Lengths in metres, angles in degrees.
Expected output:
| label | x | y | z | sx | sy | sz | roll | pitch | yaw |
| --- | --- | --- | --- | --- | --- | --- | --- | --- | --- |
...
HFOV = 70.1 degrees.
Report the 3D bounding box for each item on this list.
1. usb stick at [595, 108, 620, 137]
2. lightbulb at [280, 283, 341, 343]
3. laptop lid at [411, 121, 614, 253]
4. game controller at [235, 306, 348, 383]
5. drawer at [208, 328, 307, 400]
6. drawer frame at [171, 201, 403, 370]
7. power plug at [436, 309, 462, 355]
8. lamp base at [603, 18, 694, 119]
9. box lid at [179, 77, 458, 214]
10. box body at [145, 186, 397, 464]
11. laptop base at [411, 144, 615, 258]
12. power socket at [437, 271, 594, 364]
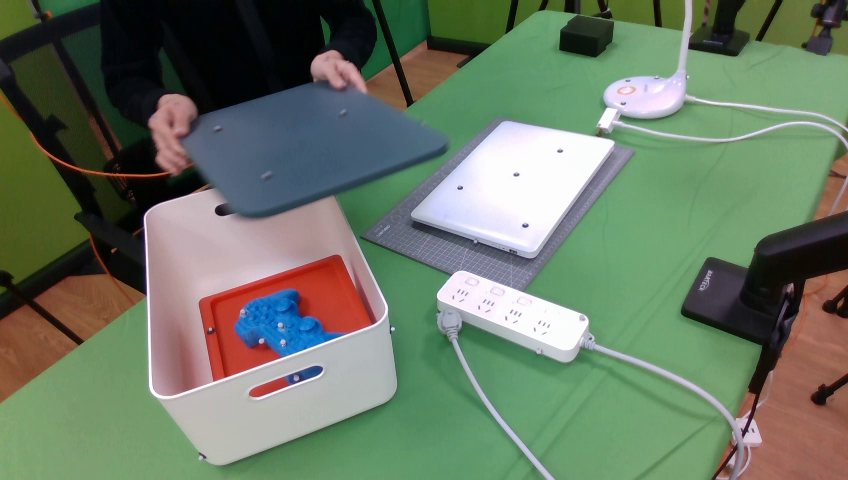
| label | x | y | z | sx | sy | sz | roll | pitch | yaw |
| --- | --- | --- | --- | --- | --- | --- | --- | --- | --- |
| usb stick | 0.355 | -0.226 | 1.175 | 0.027 | 0.022 | 0.059 | 29 | 85 | 41 |
| lightbulb | -0.152 | 0.103 | 0.826 | 0.060 | 0.060 | 0.107 | -35 | 61 | -29 |
| laptop lid | 0.164 | -0.112 | 1.068 | 0.240 | 0.013 | 0.357 | 19 | 46 | 30 |
| game controller | -0.159 | 0.112 | 0.734 | 0.154 | 0.052 | 0.097 | 29 | 55 | 35 |
| drawer | -0.172 | 0.129 | 0.780 | 0.195 | 0.073 | 0.210 | -15 | 35 | -16 |
| drawer frame | -0.170 | 0.081 | 0.766 | 0.201 | 0.214 | 0.082 | -29 | 18 | 26 |
| power plug | 0.031 | 0.127 | 0.809 | 0.035 | 0.053 | 0.072 | 5 | 58 | 7 |
| lamp base | 0.460 | -0.355 | 1.205 | 0.179 | 0.181 | 0.160 | 2 | 41 | 7 |
| box lid | -0.153 | -0.141 | 0.788 | 0.264 | 0.015 | 0.368 | -25 | 35 | -23 |
| box body | -0.205 | 0.080 | 0.802 | 0.255 | 0.161 | 0.361 | -18 | 41 | -13 |
| laptop base | 0.167 | -0.102 | 1.074 | 0.234 | 0.023 | 0.355 | 16 | 45 | 30 |
| power socket | 0.118 | 0.102 | 0.830 | 0.225 | 0.033 | 0.072 | 20 | 48 | 28 |
